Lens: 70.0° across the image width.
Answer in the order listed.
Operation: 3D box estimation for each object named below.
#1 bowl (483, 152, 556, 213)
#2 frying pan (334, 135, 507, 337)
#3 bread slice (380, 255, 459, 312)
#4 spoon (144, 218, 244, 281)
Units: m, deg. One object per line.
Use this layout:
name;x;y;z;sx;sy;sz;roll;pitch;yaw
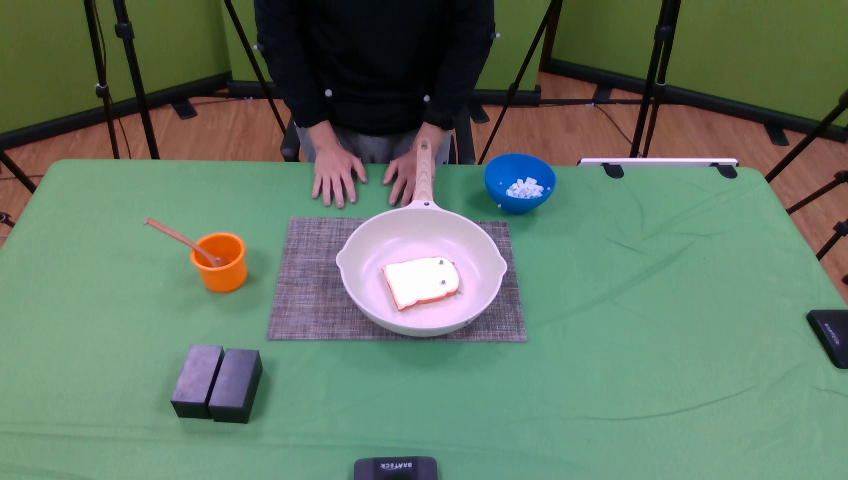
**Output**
bowl;0.195;-0.110;1.280;0.151;0.077;0.150;2;46;-2
frying pan;-0.004;-0.026;1.160;0.307;0.103;0.485;4;55;-2
bread slice;-0.005;0.074;1.118;0.134;0.018;0.106;-16;50;-17
spoon;-0.401;0.015;1.064;0.195;0.021;0.041;41;37;-29
